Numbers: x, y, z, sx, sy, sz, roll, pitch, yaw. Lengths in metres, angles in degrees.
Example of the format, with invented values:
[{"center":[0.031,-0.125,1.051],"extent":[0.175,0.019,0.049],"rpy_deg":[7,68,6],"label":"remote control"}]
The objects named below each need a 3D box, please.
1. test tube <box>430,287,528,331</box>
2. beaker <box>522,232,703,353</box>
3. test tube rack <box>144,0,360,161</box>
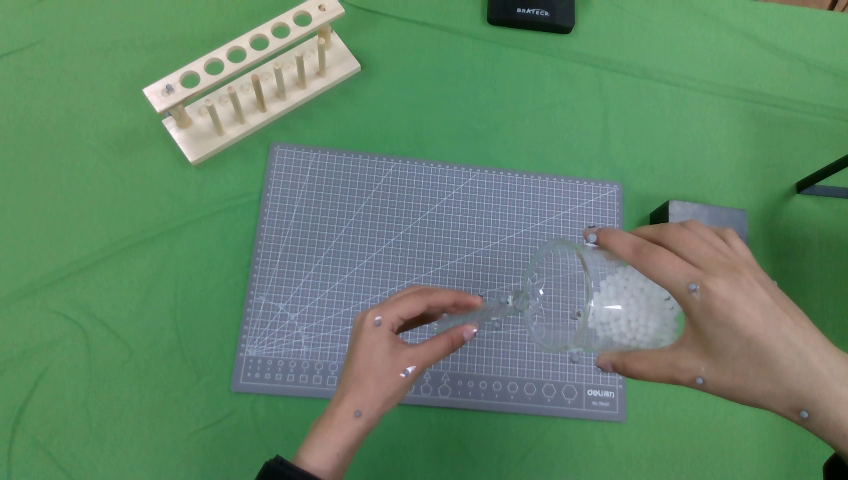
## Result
[{"center":[0.039,0.059,0.492],"extent":[0.017,0.150,0.017],"rpy_deg":[6,73,-22],"label":"test tube"},{"center":[0.126,0.039,0.409],"extent":[0.101,0.084,0.073],"rpy_deg":[7,78,-22],"label":"beaker"},{"center":[-0.194,-0.197,0.721],"extent":[0.242,0.085,0.066],"rpy_deg":[-35,81,-14],"label":"test tube rack"}]
